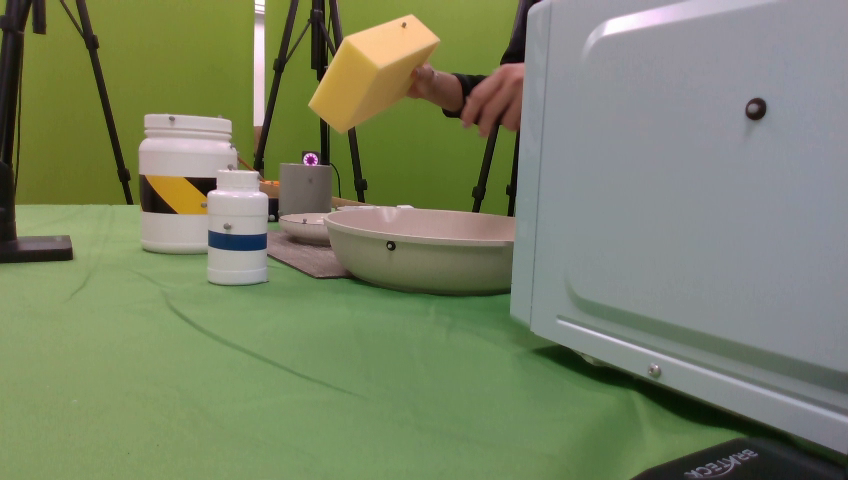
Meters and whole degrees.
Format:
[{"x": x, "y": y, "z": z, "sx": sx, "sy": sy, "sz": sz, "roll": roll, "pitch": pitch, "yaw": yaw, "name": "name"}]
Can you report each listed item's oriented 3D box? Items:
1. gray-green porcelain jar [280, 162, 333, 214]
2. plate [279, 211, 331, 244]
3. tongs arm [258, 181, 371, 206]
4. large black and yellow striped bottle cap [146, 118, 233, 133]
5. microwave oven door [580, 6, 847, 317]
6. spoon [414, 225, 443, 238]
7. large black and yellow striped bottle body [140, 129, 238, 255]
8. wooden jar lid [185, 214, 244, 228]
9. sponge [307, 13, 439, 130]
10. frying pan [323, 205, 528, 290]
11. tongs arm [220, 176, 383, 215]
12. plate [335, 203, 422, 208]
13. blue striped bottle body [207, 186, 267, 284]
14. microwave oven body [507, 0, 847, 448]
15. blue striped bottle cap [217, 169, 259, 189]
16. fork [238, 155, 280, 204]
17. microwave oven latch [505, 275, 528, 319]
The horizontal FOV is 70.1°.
[{"x": -0.238, "y": -0.092, "z": 1.221, "sx": 0.106, "sy": 0.126, "sz": 0.106, "roll": 2, "pitch": 7, "yaw": 0, "name": "gray-green porcelain jar"}, {"x": -0.139, "y": -0.022, "z": 1.021, "sx": 0.209, "sy": 0.038, "sz": 0.209, "roll": 2, "pitch": 8, "yaw": 0, "name": "plate"}, {"x": -0.241, "y": -0.095, "z": 1.373, "sx": 0.387, "sy": 0.026, "sz": 0.050, "roll": 9, "pitch": 0, "yaw": -37, "name": "tongs arm"}, {"x": -0.333, "y": -0.163, "z": 0.861, "sx": 0.115, "sy": 0.019, "sz": 0.115, "roll": 1, "pitch": 9, "yaw": 0, "name": "large black and yellow striped bottle cap"}, {"x": 0.294, "y": -0.067, "z": 0.570, "sx": 0.358, "sy": 0.243, "sz": 0.039, "roll": -3, "pitch": 9, "yaw": -31, "name": "microwave oven door"}, {"x": 0.017, "y": -0.020, "z": 1.113, "sx": 0.041, "sy": 0.021, "sz": 0.194, "roll": -14, "pitch": 3, "yaw": 11, "name": "spoon"}, {"x": -0.336, "y": -0.078, "z": 0.871, "sx": 0.131, "sy": 0.184, "sz": 0.130, "roll": 2, "pitch": 8, "yaw": 0, "name": "large black and yellow striped bottle body"}, {"x": -0.404, "y": -0.037, "z": 1.169, "sx": 0.108, "sy": 0.020, "sz": 0.108, "roll": 3, "pitch": 7, "yaw": 0, "name": "wooden jar lid"}, {"x": -0.068, "y": -0.247, "z": 0.872, "sx": 0.061, "sy": 0.118, "sz": 0.207, "roll": 41, "pitch": 36, "yaw": 1, "name": "sponge"}, {"x": 0.110, "y": -0.017, "z": 0.800, "sx": 0.490, "sy": 0.102, "sz": 0.305, "roll": -12, "pitch": 16, "yaw": -31, "name": "frying pan"}, {"x": -0.285, "y": -0.104, "z": 1.445, "sx": 0.389, "sy": 0.027, "sz": 0.028, "roll": 9, "pitch": -4, "yaw": -23, "name": "tongs arm"}, {"x": -0.089, "y": -0.054, "z": 1.309, "sx": 0.208, "sy": 0.039, "sz": 0.207, "roll": 2, "pitch": 8, "yaw": 0, "name": "plate"}, {"x": -0.204, "y": -0.016, "z": 0.663, "sx": 0.063, "sy": 0.120, "sz": 0.063, "roll": 2, "pitch": 7, "yaw": 0, "name": "blue striped bottle body"}, {"x": 0.331, "y": -0.042, "z": 0.425, "sx": 0.444, "sy": 0.260, "sz": 0.324, "roll": -2, "pitch": 8, "yaw": -31, "name": "microwave oven body"}, {"x": -0.202, "y": -0.067, "z": 0.656, "sx": 0.044, "sy": 0.020, "sz": 0.044, "roll": 0, "pitch": 10, "yaw": 0, "name": "blue striped bottle cap"}, {"x": -0.396, "y": -0.143, "z": 1.486, "sx": 0.028, "sy": 0.018, "sz": 0.208, "roll": 20, "pitch": -26, "yaw": 45, "name": "fork"}, {"x": 0.100, "y": 0.042, "z": 0.471, "sx": 0.079, "sy": 0.029, "sz": 0.030, "roll": -2, "pitch": 7, "yaw": -29, "name": "microwave oven latch"}]
